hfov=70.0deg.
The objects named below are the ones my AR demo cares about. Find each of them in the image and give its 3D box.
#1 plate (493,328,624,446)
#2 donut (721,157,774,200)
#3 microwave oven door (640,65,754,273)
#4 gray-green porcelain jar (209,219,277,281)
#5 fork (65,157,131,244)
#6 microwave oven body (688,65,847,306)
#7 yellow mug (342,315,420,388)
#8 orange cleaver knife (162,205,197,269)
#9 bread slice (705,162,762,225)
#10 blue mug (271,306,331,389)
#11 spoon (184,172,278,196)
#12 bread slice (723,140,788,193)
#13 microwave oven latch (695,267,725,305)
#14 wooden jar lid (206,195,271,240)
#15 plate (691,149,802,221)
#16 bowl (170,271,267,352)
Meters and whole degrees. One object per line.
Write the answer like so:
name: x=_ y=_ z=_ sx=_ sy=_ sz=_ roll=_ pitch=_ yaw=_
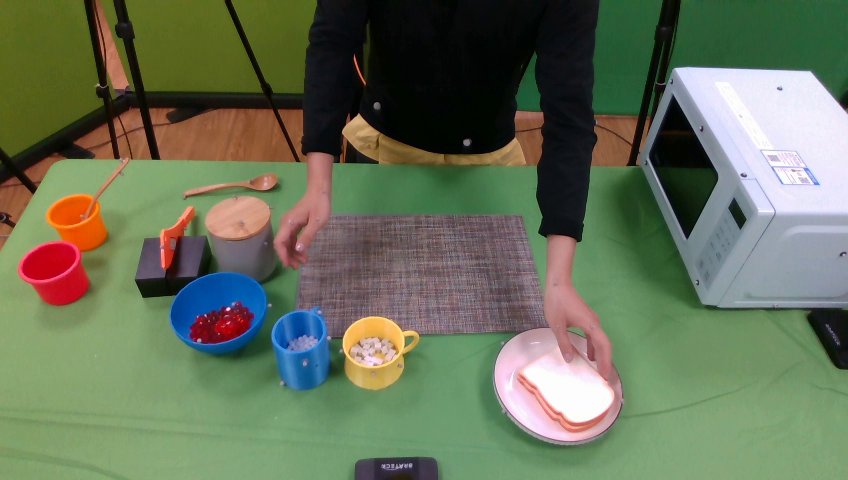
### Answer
plate: x=0.213 y=0.236 z=0.974 sx=0.208 sy=0.039 sz=0.206 roll=2 pitch=46 yaw=-2
donut: x=0.648 y=-0.123 z=1.215 sx=0.099 sy=0.048 sz=0.098 roll=-3 pitch=55 yaw=5
microwave oven door: x=0.523 y=-0.147 z=1.193 sx=0.039 sy=0.245 sz=0.353 roll=0 pitch=47 yaw=-3
gray-green porcelain jar: x=-0.323 y=0.007 z=1.093 sx=0.106 sy=0.127 sz=0.105 roll=2 pitch=46 yaw=-1
fork: x=-0.608 y=-0.074 z=1.133 sx=0.207 sy=0.019 sz=0.028 roll=-52 pitch=50 yaw=10
microwave oven body: x=0.669 y=-0.111 z=1.176 sx=0.326 sy=0.261 sz=0.439 roll=0 pitch=46 yaw=-3
yellow mug: x=-0.067 y=0.177 z=0.990 sx=0.131 sy=0.064 sz=0.099 roll=-16 pitch=50 yaw=-19
orange cleaver knife: x=-0.454 y=-0.010 z=1.129 sx=0.012 sy=0.077 sz=0.210 roll=-1 pitch=20 yaw=-5
bread slice: x=0.649 y=-0.103 z=1.264 sx=0.105 sy=0.019 sz=0.131 roll=13 pitch=71 yaw=10
blue mug: x=-0.188 y=0.163 z=0.969 sx=0.082 sy=0.106 sz=0.116 roll=15 pitch=47 yaw=10
spoon: x=-0.405 y=-0.116 z=1.275 sx=0.194 sy=0.022 sz=0.041 roll=-8 pitch=65 yaw=-12
bread slice: x=0.661 y=-0.147 z=1.201 sx=0.107 sy=0.018 sz=0.133 roll=0 pitch=53 yaw=9
microwave oven latch: x=0.524 y=0.082 z=1.115 sx=0.030 sy=0.029 sz=0.078 roll=5 pitch=46 yaw=2
wooden jar lid: x=-0.319 y=-0.036 z=1.046 sx=0.108 sy=0.021 sz=0.107 roll=0 pitch=44 yaw=0
plate: x=0.652 y=-0.108 z=1.238 sx=0.209 sy=0.038 sz=0.208 roll=-1 pitch=46 yaw=1
bowl: x=-0.333 y=0.132 z=1.006 sx=0.151 sy=0.077 sz=0.150 roll=2 pitch=46 yaw=-2
